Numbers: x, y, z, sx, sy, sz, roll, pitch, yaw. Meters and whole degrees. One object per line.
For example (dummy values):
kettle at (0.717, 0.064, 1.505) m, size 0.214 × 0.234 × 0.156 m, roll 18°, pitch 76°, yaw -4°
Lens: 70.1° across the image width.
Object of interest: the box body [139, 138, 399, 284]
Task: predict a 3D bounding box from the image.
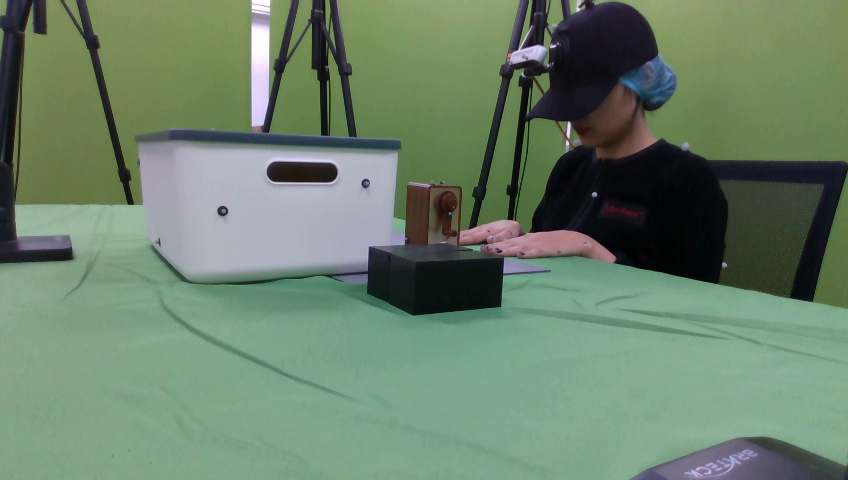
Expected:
box body at (-0.222, -0.056, 0.807) m, size 0.255 × 0.160 × 0.362 m, roll -3°, pitch 9°, yaw -31°

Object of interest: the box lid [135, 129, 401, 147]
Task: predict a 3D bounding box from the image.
box lid at (-0.220, -0.129, 0.795) m, size 0.265 × 0.015 × 0.369 m, roll -4°, pitch 9°, yaw -31°

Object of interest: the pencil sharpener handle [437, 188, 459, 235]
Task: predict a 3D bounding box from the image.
pencil sharpener handle at (0.041, -0.041, 0.877) m, size 0.036 × 0.067 × 0.030 m, roll 1°, pitch 7°, yaw -30°

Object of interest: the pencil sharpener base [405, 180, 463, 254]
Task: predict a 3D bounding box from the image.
pencil sharpener base at (0.016, -0.035, 0.922) m, size 0.061 × 0.107 × 0.076 m, roll -2°, pitch 9°, yaw -30°
